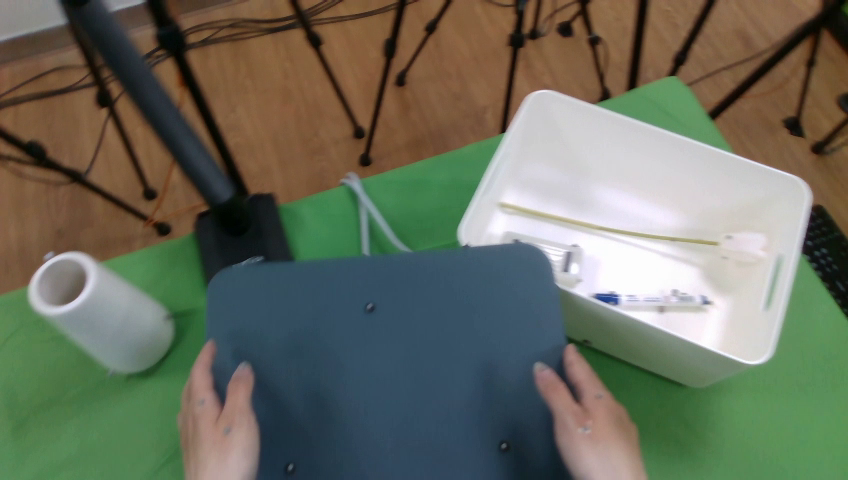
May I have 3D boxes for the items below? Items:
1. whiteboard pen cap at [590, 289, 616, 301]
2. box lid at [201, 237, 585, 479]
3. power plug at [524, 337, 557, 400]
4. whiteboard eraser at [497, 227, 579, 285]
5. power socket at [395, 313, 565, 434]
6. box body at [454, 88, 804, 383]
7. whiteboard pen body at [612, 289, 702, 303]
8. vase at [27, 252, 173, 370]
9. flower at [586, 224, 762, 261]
[{"bbox_3d":[0.241,0.074,0.814,0.033,0.018,0.018,0,64,2],"label":"whiteboard pen cap"},{"bbox_3d":[-0.032,0.132,0.610,0.372,0.015,0.261,-4,72,-2],"label":"box lid"},{"bbox_3d":[0.152,0.164,0.745,0.035,0.053,0.072,34,65,17],"label":"power plug"},{"bbox_3d":[0.151,0.022,0.825,0.112,0.042,0.055,13,67,5],"label":"whiteboard eraser"},{"bbox_3d":[0.072,0.167,0.771,0.226,0.033,0.072,26,67,13],"label":"power socket"},{"bbox_3d":[0.244,-0.002,0.778,0.363,0.161,0.253,22,66,11],"label":"box body"},{"bbox_3d":[0.300,0.075,0.811,0.141,0.017,0.017,-1,64,2],"label":"whiteboard pen body"},{"bbox_3d":[-0.378,0.086,0.722,0.098,0.201,0.097,0,62,0],"label":"vase"},{"bbox_3d":[0.276,-0.013,0.855,0.360,0.038,0.044,7,54,23],"label":"flower"}]
